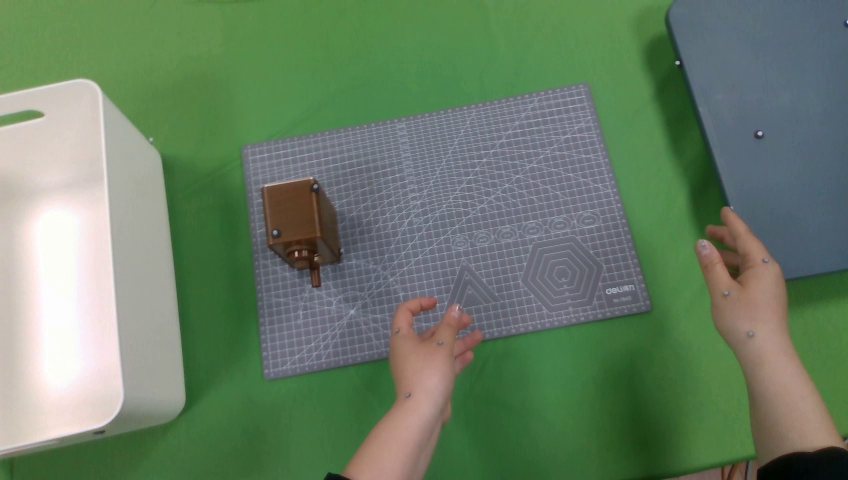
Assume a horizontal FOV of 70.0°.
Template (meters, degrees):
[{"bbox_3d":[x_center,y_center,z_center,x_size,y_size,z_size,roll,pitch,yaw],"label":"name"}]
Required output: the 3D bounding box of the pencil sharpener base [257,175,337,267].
[{"bbox_3d":[-0.140,-0.015,0.682,0.061,0.107,0.076,-10,74,0],"label":"pencil sharpener base"}]

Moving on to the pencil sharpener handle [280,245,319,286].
[{"bbox_3d":[-0.130,0.029,0.656,0.036,0.068,0.030,-12,74,8],"label":"pencil sharpener handle"}]

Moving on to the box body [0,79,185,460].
[{"bbox_3d":[-0.421,0.043,0.655,0.254,0.161,0.361,-13,74,-1],"label":"box body"}]

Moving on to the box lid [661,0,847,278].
[{"bbox_3d":[0.444,-0.151,0.698,0.263,0.015,0.369,-10,74,0],"label":"box lid"}]
